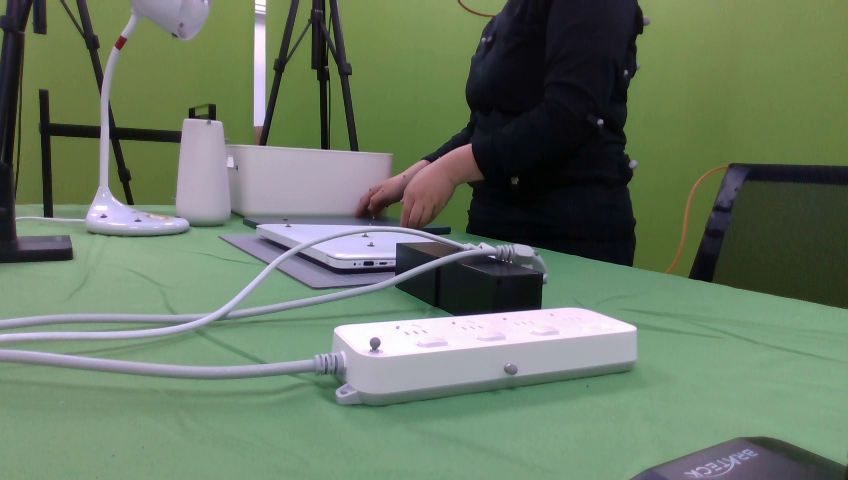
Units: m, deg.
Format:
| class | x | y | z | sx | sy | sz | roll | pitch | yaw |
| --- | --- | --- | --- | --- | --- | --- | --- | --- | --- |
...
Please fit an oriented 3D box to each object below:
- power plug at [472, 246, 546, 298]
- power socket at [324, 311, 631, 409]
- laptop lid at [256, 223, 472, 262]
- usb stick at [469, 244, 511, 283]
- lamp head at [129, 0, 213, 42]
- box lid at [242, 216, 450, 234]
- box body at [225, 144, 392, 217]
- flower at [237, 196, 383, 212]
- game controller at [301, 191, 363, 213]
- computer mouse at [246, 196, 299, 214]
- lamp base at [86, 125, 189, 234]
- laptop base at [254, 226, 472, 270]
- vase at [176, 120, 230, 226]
| class | x | y | z | sx | sy | sz | roll | pitch | yaw |
| --- | --- | --- | --- | --- | --- | --- | --- | --- | --- |
| power plug | 0.081 | 0.030 | 0.584 | 0.072 | 0.052 | 0.035 | 11 | 28 | 9 |
| power socket | 0.042 | 0.075 | 0.410 | 0.228 | 0.032 | 0.072 | -1 | 8 | -25 |
| laptop lid | -0.092 | 0.000 | 0.912 | 0.243 | 0.013 | 0.355 | 1 | 7 | -30 |
| usb stick | 0.080 | 0.029 | 0.674 | 0.059 | 0.021 | 0.027 | 28 | 26 | -29 |
| lamp head | -0.423 | -0.394 | 0.980 | 0.123 | 0.112 | 0.112 | 20 | 7 | -3 |
| box lid | -0.161 | -0.030 | 1.234 | 0.373 | 0.015 | 0.262 | -1 | 8 | -32 |
| box body | -0.289 | -0.143 | 1.475 | 0.366 | 0.160 | 0.253 | -1 | 9 | -29 |
| flower | -0.282 | -0.081 | 1.492 | 0.362 | 0.038 | 0.044 | 3 | 34 | 2 |
| game controller | -0.240 | -0.098 | 1.550 | 0.155 | 0.051 | 0.097 | 3 | 9 | 5 |
| computer mouse | -0.354 | -0.083 | 1.418 | 0.117 | 0.041 | 0.063 | 0 | 10 | 7 |
| lamp base | -0.497 | -0.105 | 1.027 | 0.179 | 0.180 | 0.160 | 1 | 7 | 3 |
| laptop base | -0.095 | 0.011 | 0.912 | 0.237 | 0.023 | 0.352 | 3 | 6 | -32 |
| vase | -0.425 | -0.128 | 1.159 | 0.098 | 0.200 | 0.098 | 2 | 9 | 0 |
